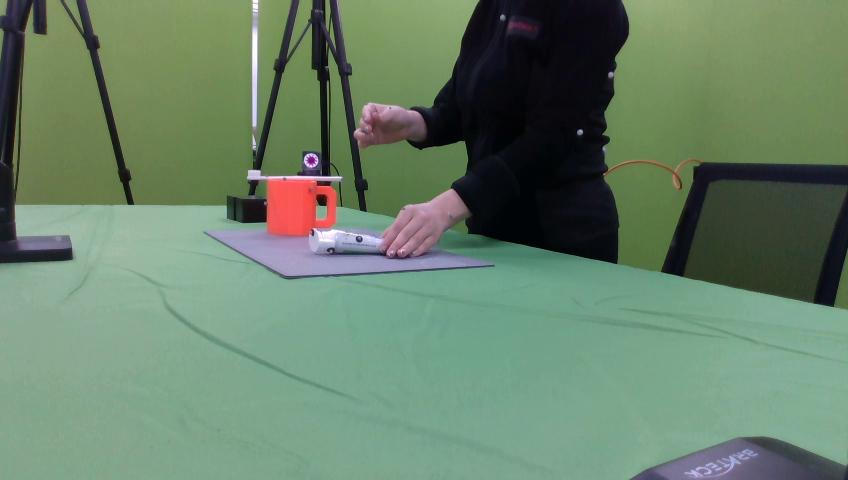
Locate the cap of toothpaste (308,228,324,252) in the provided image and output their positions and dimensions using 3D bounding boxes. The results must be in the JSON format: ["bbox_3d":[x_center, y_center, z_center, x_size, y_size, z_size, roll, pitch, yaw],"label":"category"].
[{"bbox_3d":[-0.153,0.000,0.857,0.011,0.037,0.037,-5,10,-37],"label":"cap of toothpaste"}]

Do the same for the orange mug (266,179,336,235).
[{"bbox_3d":[-0.222,-0.062,1.094,0.127,0.101,0.083,-5,10,-22],"label":"orange mug"}]

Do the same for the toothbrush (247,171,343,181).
[{"bbox_3d":[-0.230,-0.115,1.092,0.183,0.016,0.014,-2,5,-35],"label":"toothbrush"}]

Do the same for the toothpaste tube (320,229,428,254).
[{"bbox_3d":[-0.078,0.006,0.891,0.166,0.034,0.055,4,10,-25],"label":"toothpaste tube"}]
